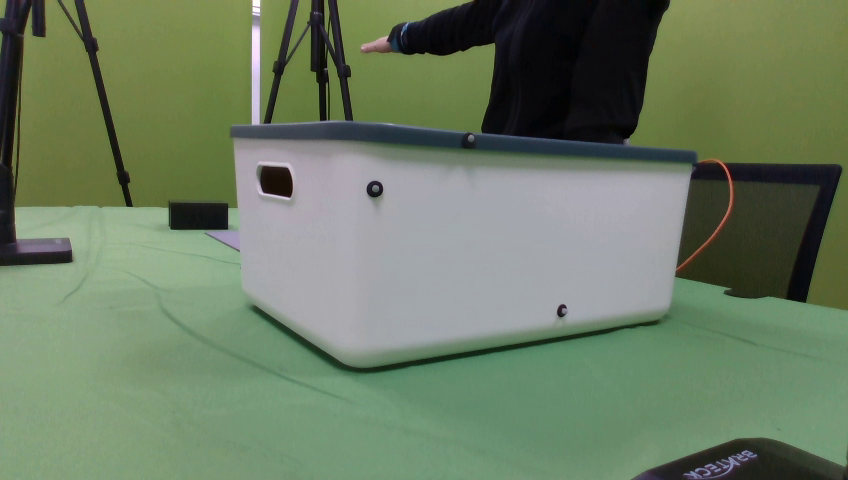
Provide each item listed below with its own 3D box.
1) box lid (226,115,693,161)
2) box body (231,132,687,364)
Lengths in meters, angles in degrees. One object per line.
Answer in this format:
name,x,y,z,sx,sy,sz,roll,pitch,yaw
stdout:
box lid,0.031,-0.086,0.554,0.373,0.015,0.262,-2,8,-33
box body,0.031,-0.013,0.563,0.366,0.160,0.253,-3,8,-33
